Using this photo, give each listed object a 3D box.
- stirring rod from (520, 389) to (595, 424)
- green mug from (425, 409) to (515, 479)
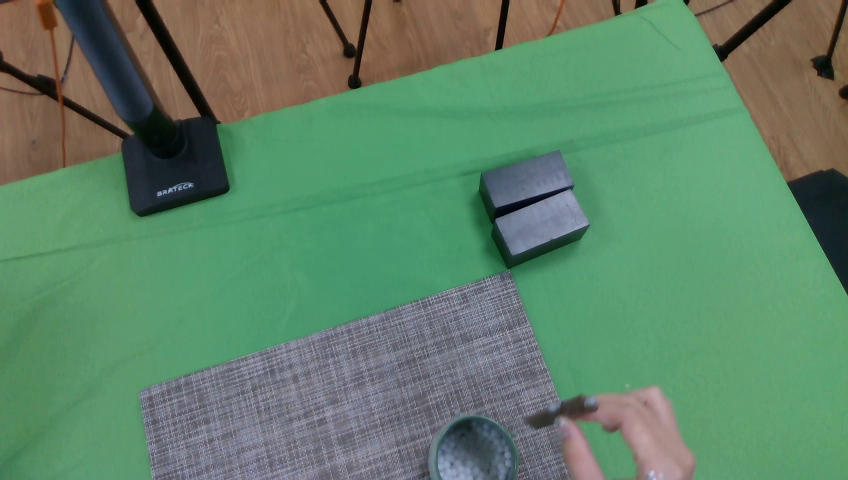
[{"bbox_3d":[0.094,0.126,0.450,0.014,0.177,0.006,32,71,9],"label":"stirring rod"},{"bbox_3d":[0.057,0.229,0.608,0.092,0.105,0.124,-34,74,-11],"label":"green mug"}]
